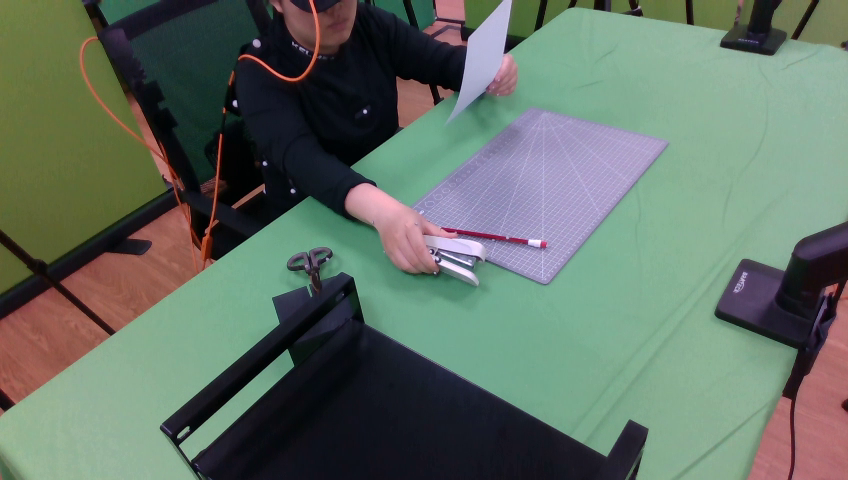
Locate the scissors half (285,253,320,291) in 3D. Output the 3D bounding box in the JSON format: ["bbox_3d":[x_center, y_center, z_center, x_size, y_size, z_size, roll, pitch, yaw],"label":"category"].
[{"bbox_3d":[-0.179,0.049,0.909,0.040,0.013,0.174,-16,19,-20],"label":"scissors half"}]

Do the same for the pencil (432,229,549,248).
[{"bbox_3d":[0.103,-0.004,0.970,0.193,0.012,0.012,8,42,18],"label":"pencil"}]

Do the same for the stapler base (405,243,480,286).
[{"bbox_3d":[0.032,0.032,0.914,0.129,0.041,0.024,23,77,32],"label":"stapler base"}]

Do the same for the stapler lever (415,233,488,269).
[{"bbox_3d":[0.043,0.010,0.918,0.117,0.027,0.040,22,77,32],"label":"stapler lever"}]

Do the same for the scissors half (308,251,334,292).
[{"bbox_3d":[-0.159,0.046,0.913,0.040,0.013,0.174,-5,17,-5],"label":"scissors half"}]
